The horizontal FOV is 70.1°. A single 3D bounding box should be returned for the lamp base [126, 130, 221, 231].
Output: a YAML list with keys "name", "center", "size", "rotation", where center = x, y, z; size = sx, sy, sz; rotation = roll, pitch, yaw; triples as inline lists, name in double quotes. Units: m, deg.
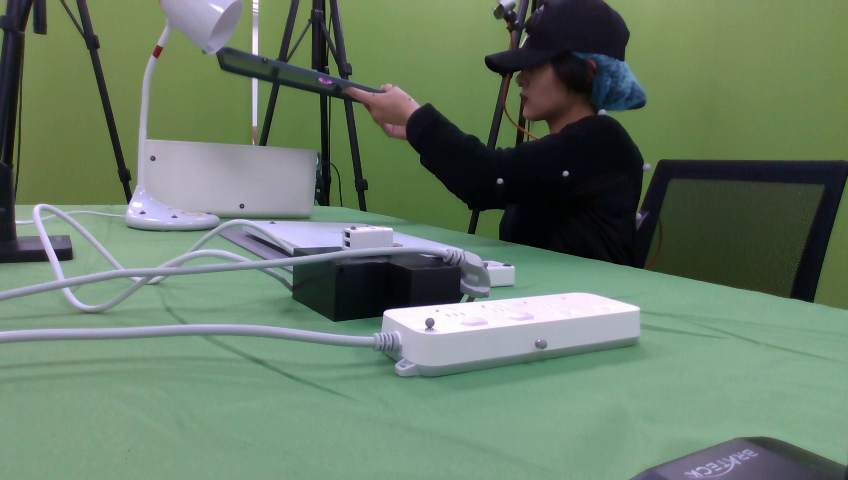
- name: "lamp base"
  center: [-0.469, -0.112, 1.108]
  size: [0.179, 0.180, 0.160]
  rotation: [0, 7, 3]

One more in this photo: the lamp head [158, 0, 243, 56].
- name: "lamp head"
  center: [-0.399, -0.397, 1.057]
  size: [0.123, 0.112, 0.112]
  rotation: [27, 5, -7]

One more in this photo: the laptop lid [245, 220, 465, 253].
- name: "laptop lid"
  center: [-0.124, -0.009, 0.945]
  size: [0.243, 0.013, 0.355]
  rotation: [1, 7, -29]

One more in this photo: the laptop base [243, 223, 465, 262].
- name: "laptop base"
  center: [-0.126, 0.002, 0.946]
  size: [0.237, 0.023, 0.352]
  rotation: [2, 6, -31]

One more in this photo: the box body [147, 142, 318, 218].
- name: "box body"
  center: [-0.450, -0.139, 1.406]
  size: [0.366, 0.160, 0.253]
  rotation: [-1, 8, -24]

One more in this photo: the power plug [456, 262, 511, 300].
- name: "power plug"
  center: [0.051, 0.050, 0.543]
  size: [0.035, 0.052, 0.072]
  rotation: [7, 37, -20]

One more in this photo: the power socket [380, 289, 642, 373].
- name: "power socket"
  center: [0.072, 0.064, 0.461]
  size: [0.228, 0.032, 0.072]
  rotation: [-2, 8, -30]

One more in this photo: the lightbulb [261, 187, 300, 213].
- name: "lightbulb"
  center: [-0.346, -0.091, 1.469]
  size: [0.059, 0.059, 0.108]
  rotation: [9, -11, 41]

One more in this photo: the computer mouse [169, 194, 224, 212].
- name: "computer mouse"
  center: [-0.519, -0.084, 1.384]
  size: [0.118, 0.041, 0.062]
  rotation: [4, 4, -25]

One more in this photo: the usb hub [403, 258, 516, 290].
- name: "usb hub"
  center: [0.042, 0.038, 0.690]
  size: [0.126, 0.025, 0.049]
  rotation: [-2, 9, -30]

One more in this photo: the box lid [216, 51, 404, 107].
- name: "box lid"
  center: [-0.244, -0.333, 1.282]
  size: [0.373, 0.015, 0.262]
  rotation: [8, 4, -17]

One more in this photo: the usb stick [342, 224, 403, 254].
- name: "usb stick"
  center: [-0.047, -0.001, 0.567]
  size: [0.059, 0.027, 0.021]
  rotation: [0, 5, -32]
